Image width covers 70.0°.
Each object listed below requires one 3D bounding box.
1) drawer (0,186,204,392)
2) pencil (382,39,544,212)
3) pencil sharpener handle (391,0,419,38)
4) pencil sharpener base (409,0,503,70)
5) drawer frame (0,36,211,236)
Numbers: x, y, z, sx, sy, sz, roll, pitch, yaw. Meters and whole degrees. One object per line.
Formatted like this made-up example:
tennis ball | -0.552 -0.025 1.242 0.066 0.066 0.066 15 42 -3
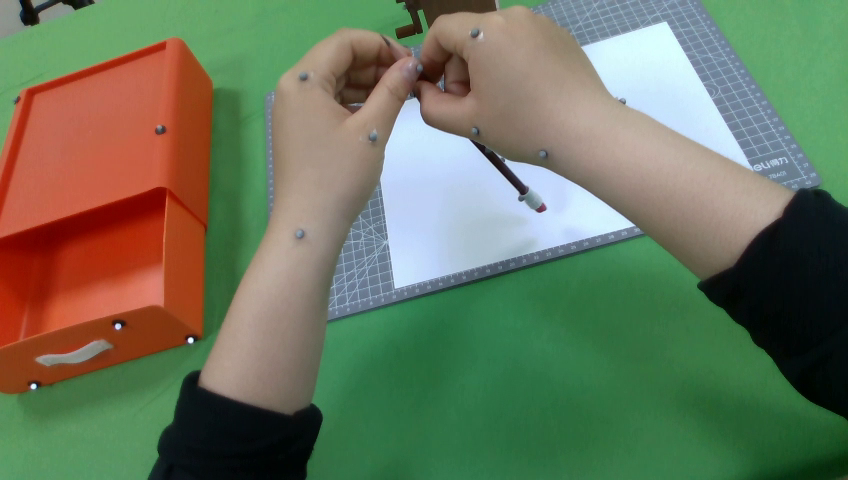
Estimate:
drawer | -0.306 0.012 0.556 0.194 0.074 0.209 -17 56 7
pencil | 0.033 -0.069 0.409 0.012 0.196 0.012 -21 51 29
pencil sharpener handle | -0.024 -0.223 0.581 0.030 0.068 0.035 -14 62 9
pencil sharpener base | 0.028 -0.227 0.583 0.076 0.108 0.061 -14 57 9
drawer frame | -0.327 -0.084 0.619 0.201 0.083 0.211 -17 55 7
